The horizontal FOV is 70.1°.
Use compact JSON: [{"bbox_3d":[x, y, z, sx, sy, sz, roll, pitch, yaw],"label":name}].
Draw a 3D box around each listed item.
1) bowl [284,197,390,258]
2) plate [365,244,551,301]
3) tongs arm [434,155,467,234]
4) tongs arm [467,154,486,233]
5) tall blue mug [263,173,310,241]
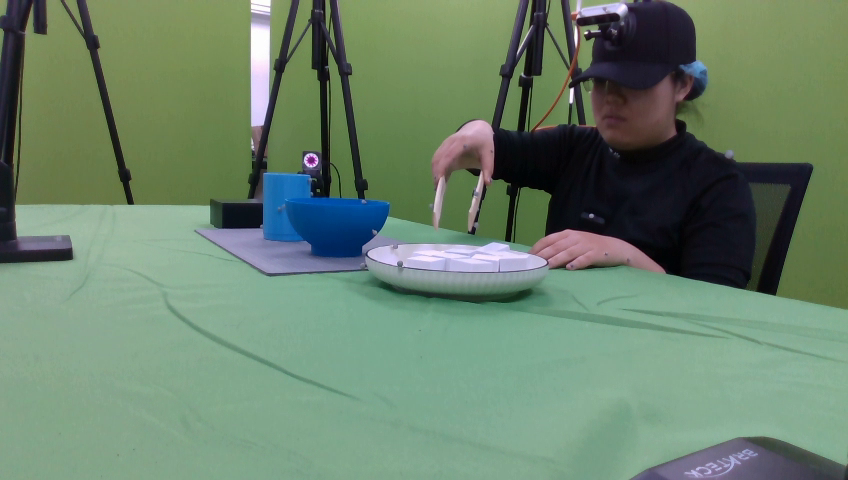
[{"bbox_3d":[-0.125,-0.018,0.870,0.151,0.077,0.151,3,7,0],"label":"bowl"},{"bbox_3d":[0.038,0.036,0.685,0.209,0.038,0.209,2,7,0],"label":"plate"},{"bbox_3d":[0.041,-0.080,0.911,0.028,0.028,0.387,-7,18,9],"label":"tongs arm"},{"bbox_3d":[0.069,-0.081,0.908,0.050,0.026,0.385,-2,18,11],"label":"tongs arm"},{"bbox_3d":[-0.233,-0.058,1.019,0.078,0.108,0.107,-1,8,-19],"label":"tall blue mug"}]
